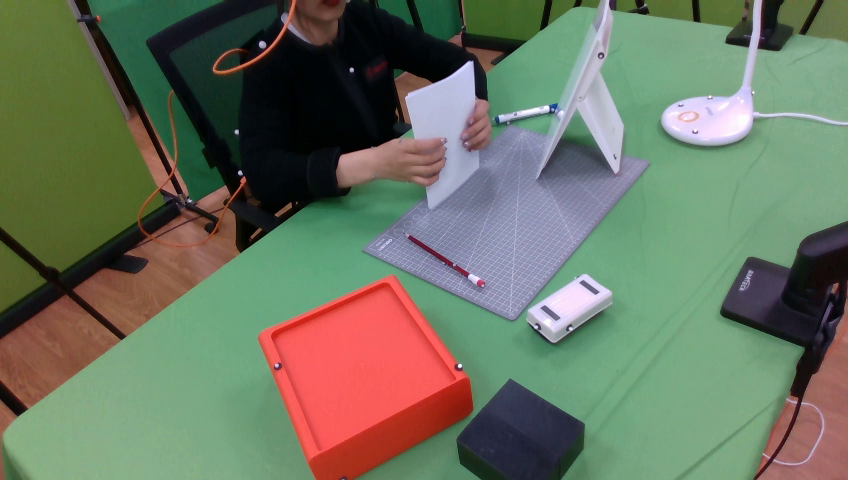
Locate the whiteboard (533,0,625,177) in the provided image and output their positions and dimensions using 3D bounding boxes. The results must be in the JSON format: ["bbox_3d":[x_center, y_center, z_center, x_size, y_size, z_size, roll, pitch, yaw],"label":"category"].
[{"bbox_3d":[0.321,-0.258,1.049,0.144,0.306,0.217,20,45,4],"label":"whiteboard"}]

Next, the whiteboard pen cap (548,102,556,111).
[{"bbox_3d":[0.273,-0.279,1.259,0.033,0.018,0.018,-10,40,-5],"label":"whiteboard pen cap"}]

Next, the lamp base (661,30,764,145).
[{"bbox_3d":[0.535,-0.287,1.096,0.179,0.181,0.159,-10,40,-4],"label":"lamp base"}]

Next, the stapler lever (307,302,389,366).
[{"bbox_3d":[-0.101,0.121,0.798,0.118,0.040,0.026,-26,29,-17],"label":"stapler lever"}]

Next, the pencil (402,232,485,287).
[{"bbox_3d":[0.026,0.027,0.949,0.012,0.012,0.192,-34,45,-26],"label":"pencil"}]

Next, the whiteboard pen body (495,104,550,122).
[{"bbox_3d":[0.216,-0.267,1.255,0.141,0.017,0.017,-12,40,-5],"label":"whiteboard pen body"}]

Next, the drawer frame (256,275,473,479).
[{"bbox_3d":[-0.078,0.164,0.756,0.202,0.083,0.211,-23,43,-17],"label":"drawer frame"}]

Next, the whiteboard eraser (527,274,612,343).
[{"bbox_3d":[0.198,0.094,0.820,0.113,0.042,0.055,-29,43,-22],"label":"whiteboard eraser"}]

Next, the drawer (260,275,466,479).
[{"bbox_3d":[-0.080,0.162,0.760,0.195,0.073,0.210,-22,42,-16],"label":"drawer"}]

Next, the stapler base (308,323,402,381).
[{"bbox_3d":[-0.094,0.142,0.812,0.131,0.024,0.041,-25,29,-18],"label":"stapler base"}]
